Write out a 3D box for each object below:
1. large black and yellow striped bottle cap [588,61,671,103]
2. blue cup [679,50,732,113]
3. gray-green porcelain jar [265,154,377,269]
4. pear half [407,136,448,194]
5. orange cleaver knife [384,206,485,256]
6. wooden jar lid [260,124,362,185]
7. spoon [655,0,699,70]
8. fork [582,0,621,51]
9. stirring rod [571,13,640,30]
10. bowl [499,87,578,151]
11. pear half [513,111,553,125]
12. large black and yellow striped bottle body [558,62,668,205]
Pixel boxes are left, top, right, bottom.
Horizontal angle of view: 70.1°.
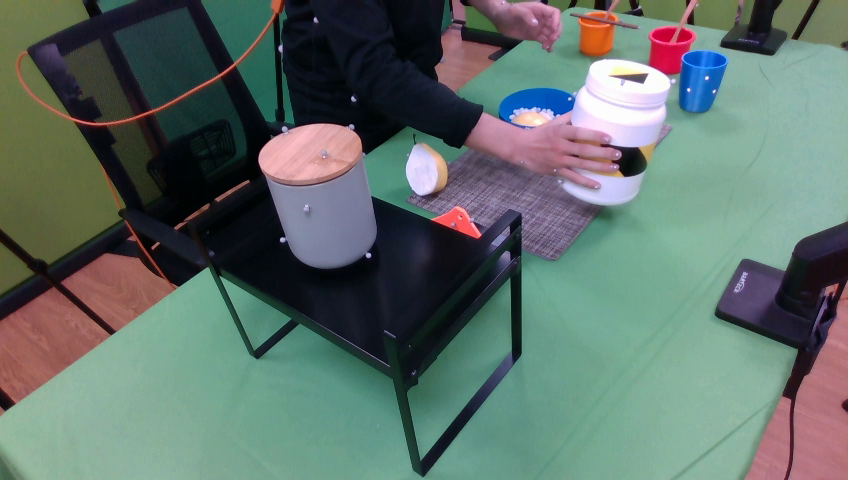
[{"bbox_3d":[0.291,-0.226,0.860,0.115,0.019,0.114,5,37,-3],"label":"large black and yellow striped bottle cap"},{"bbox_3d":[0.545,-0.309,1.193,0.092,0.100,0.092,-4,39,3],"label":"blue cup"},{"bbox_3d":[-0.112,-0.039,0.685,0.106,0.127,0.105,-4,40,4],"label":"gray-green porcelain jar"},{"bbox_3d":[0.007,-0.139,1.089,0.076,0.056,0.109,-25,70,31],"label":"pear half"},{"bbox_3d":[0.012,-0.010,0.942,0.012,0.077,0.210,-37,19,-35],"label":"orange cleaver knife"},{"bbox_3d":[-0.119,-0.088,0.644,0.108,0.021,0.108,-4,40,4],"label":"wooden jar lid"},{"bbox_3d":[0.567,-0.463,1.337,0.041,0.022,0.193,30,96,38],"label":"spoon"},{"bbox_3d":[0.446,-0.539,1.438,0.207,0.019,0.028,-57,36,12],"label":"fork"},{"bbox_3d":[0.418,-0.508,1.404,0.174,0.006,0.014,28,55,35],"label":"stirring rod"},{"bbox_3d":[0.220,-0.223,1.155,0.151,0.077,0.150,-4,40,4],"label":"bowl"},{"bbox_3d":[0.212,-0.227,1.152,0.088,0.031,0.070,7,44,11],"label":"pear half"},{"bbox_3d":[0.285,-0.160,0.912,0.131,0.184,0.130,4,38,-3],"label":"large black and yellow striped bottle body"}]
